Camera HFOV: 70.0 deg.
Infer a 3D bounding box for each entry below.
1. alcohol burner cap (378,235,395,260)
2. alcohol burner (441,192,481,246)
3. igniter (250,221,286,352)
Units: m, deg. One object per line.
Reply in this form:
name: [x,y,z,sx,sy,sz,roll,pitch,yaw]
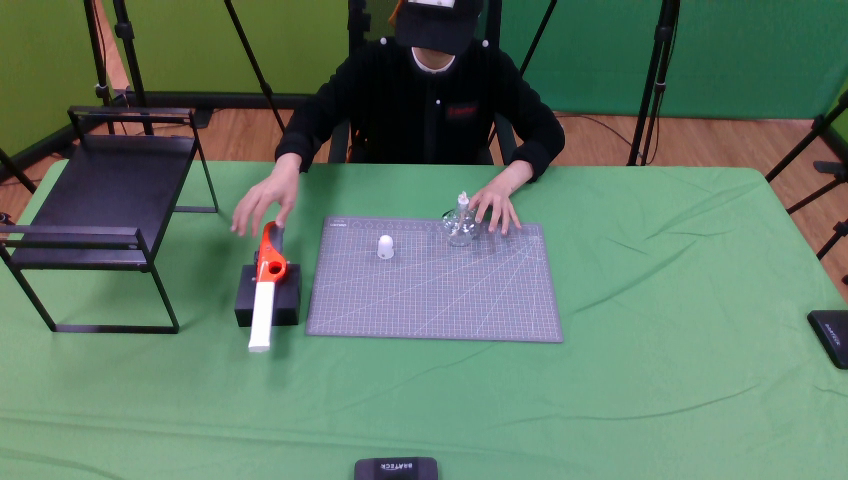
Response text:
alcohol burner cap: [-0.073,0.012,1.160,0.034,0.048,0.033,1,46,0]
alcohol burner: [0.073,-0.046,1.176,0.078,0.119,0.077,2,44,-2]
igniter: [-0.269,0.068,1.041,0.057,0.025,0.274,0,48,-7]
